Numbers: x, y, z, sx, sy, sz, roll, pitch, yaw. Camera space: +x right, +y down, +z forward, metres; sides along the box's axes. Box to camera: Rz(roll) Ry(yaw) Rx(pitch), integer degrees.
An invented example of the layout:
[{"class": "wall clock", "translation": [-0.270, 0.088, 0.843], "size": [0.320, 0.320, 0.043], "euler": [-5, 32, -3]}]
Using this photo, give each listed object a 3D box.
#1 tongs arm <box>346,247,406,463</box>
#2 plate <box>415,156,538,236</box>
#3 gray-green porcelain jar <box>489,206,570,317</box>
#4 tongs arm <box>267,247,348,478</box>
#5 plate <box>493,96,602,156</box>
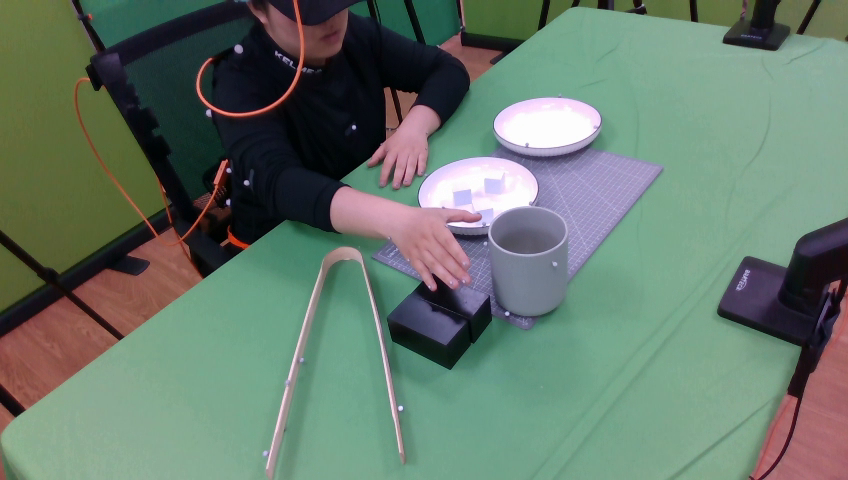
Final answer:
[{"class": "tongs arm", "translation": [-0.069, 0.133, 0.832], "size": [0.028, 0.028, 0.384], "euler": [-16, 40, -4]}, {"class": "plate", "translation": [0.090, -0.072, 1.034], "size": [0.207, 0.039, 0.206], "euler": [-5, 40, 5]}, {"class": "gray-green porcelain jar", "translation": [0.145, 0.034, 0.829], "size": [0.106, 0.127, 0.105], "euler": [-5, 40, 5]}, {"class": "tongs arm", "translation": [-0.151, 0.143, 0.831], "size": [0.051, 0.026, 0.383], "euler": [-5, 39, 5]}, {"class": "plate", "translation": [0.238, -0.218, 1.179], "size": [0.209, 0.038, 0.208], "euler": [-5, 39, 4]}]
